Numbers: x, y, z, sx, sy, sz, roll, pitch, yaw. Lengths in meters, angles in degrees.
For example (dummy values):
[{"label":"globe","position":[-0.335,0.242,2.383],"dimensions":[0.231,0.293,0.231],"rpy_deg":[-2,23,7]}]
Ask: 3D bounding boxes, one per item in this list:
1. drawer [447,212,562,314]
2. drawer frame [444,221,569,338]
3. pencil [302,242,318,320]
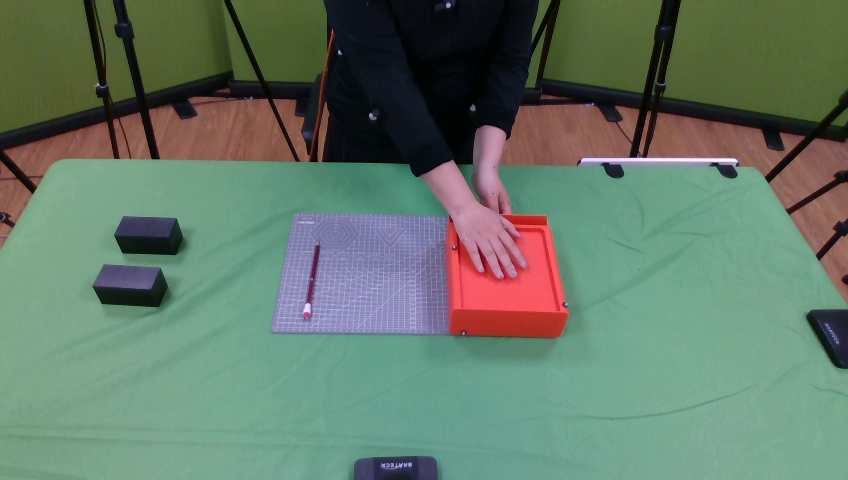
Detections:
[{"label":"drawer","position":[0.141,0.046,1.120],"dimensions":[0.194,0.073,0.210],"rpy_deg":[3,47,-3]},{"label":"drawer frame","position":[0.141,0.067,1.098],"dimensions":[0.202,0.083,0.212],"rpy_deg":[2,46,-4]},{"label":"pencil","position":[-0.209,0.070,1.119],"dimensions":[0.012,0.012,0.193],"rpy_deg":[2,44,-3]}]
